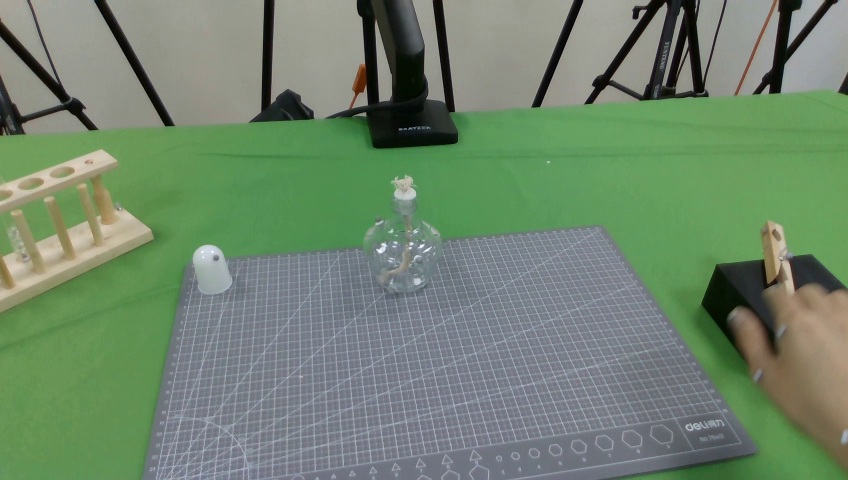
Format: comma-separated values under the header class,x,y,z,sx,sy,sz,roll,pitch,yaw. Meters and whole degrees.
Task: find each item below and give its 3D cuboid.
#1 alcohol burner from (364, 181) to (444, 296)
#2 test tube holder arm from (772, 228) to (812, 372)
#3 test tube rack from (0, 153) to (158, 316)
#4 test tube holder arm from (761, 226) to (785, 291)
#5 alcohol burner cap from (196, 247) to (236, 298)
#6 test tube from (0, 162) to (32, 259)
class,x,y,z,sx,sy,sz,roll,pitch,yaw
alcohol burner,-0.018,-0.006,0.573,0.078,0.120,0.077,2,39,-1
test tube holder arm,0.316,0.044,0.526,0.013,0.015,0.177,13,39,11
test tube rack,-0.389,0.008,0.567,0.066,0.086,0.242,29,45,31
test tube holder arm,0.324,0.017,0.561,0.010,0.015,0.087,14,40,12
alcohol burner cap,-0.201,0.028,0.579,0.034,0.048,0.033,2,38,-1
test tube,-0.391,-0.047,0.558,0.017,0.151,0.017,1,32,0
